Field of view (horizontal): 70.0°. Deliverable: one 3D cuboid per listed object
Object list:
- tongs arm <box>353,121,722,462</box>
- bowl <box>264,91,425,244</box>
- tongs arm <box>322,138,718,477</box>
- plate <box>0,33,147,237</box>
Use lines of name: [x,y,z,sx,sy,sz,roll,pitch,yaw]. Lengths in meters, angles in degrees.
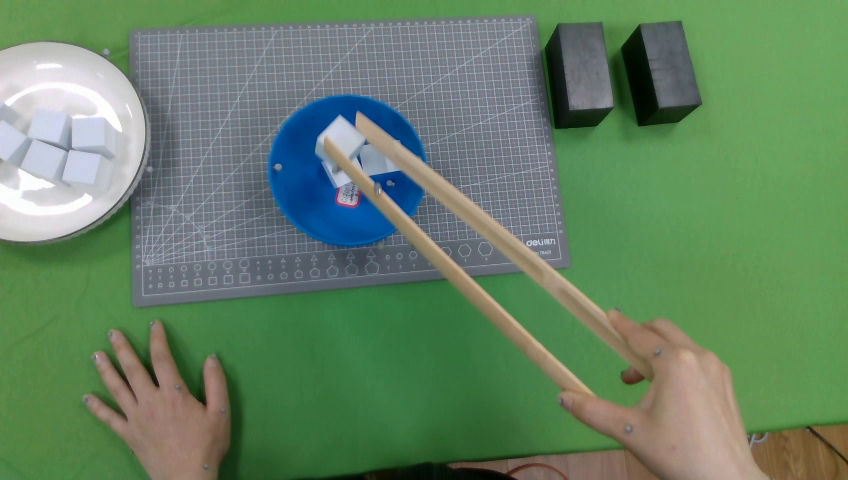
tongs arm: [0.071,0.023,0.484,0.385,0.028,0.028,42,54,18]
bowl: [-0.077,-0.063,0.607,0.151,0.077,0.150,1,79,-6]
tongs arm: [0.054,0.035,0.472,0.051,0.027,0.382,-32,66,-29]
plate: [-0.380,-0.102,0.602,0.208,0.039,0.207,1,80,-5]
